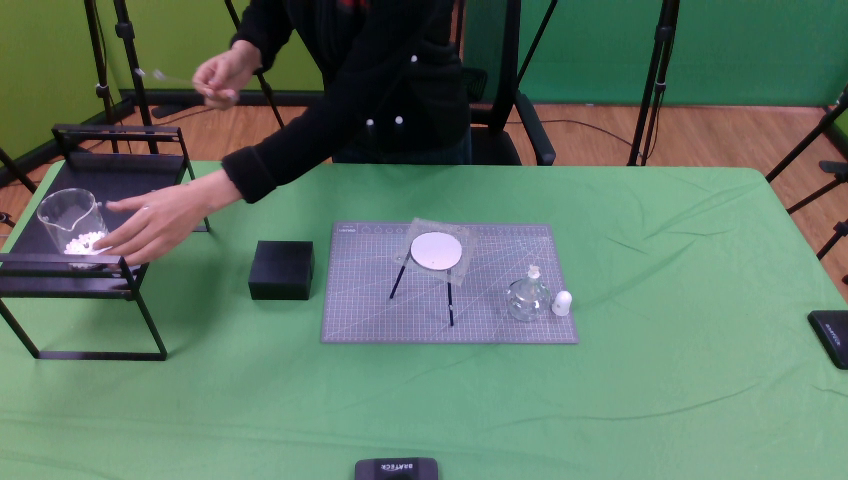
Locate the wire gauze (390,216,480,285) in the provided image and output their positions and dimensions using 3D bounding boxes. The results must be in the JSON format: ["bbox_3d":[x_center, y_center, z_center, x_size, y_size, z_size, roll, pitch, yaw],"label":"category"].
[{"bbox_3d":[0.020,0.012,1.009,0.125,0.011,0.121,16,48,12],"label":"wire gauze"}]

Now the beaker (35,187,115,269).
[{"bbox_3d":[-0.494,-0.012,0.867,0.074,0.101,0.083,-17,50,-18],"label":"beaker"}]

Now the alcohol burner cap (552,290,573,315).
[{"bbox_3d":[0.251,0.109,1.088,0.034,0.048,0.033,2,47,-2],"label":"alcohol burner cap"}]

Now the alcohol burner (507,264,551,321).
[{"bbox_3d":[0.185,0.086,1.056,0.078,0.120,0.077,0,47,0],"label":"alcohol burner"}]

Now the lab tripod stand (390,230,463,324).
[{"bbox_3d":[0.014,0.060,1.056,0.148,0.132,0.147,1,48,-1],"label":"lab tripod stand"}]

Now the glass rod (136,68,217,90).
[{"bbox_3d":[-0.368,-0.243,0.919,0.008,0.008,0.199,15,10,10],"label":"glass rod"}]
